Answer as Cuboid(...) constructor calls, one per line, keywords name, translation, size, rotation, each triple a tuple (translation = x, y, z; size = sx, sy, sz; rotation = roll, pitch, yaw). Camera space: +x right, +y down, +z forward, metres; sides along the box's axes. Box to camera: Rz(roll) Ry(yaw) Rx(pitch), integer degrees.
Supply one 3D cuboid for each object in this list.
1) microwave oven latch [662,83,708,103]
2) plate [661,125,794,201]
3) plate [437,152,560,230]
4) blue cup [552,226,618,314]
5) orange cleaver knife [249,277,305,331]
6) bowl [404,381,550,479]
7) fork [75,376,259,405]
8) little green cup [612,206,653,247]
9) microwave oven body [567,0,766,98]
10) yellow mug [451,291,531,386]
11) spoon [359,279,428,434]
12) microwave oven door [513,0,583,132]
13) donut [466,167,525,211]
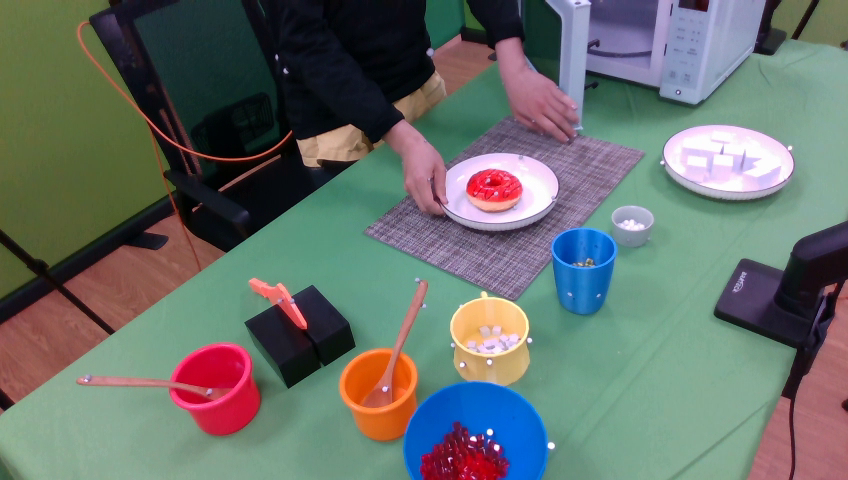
Cuboid(name="microwave oven latch", translation=(0.518, -0.297, 1.204), size=(0.078, 0.029, 0.030), rotation=(28, 53, 36))
Cuboid(name="plate", translation=(0.513, -0.128, 1.035), size=(0.207, 0.039, 0.206), rotation=(-4, 40, 4))
Cuboid(name="plate", translation=(0.126, -0.080, 1.029), size=(0.209, 0.038, 0.208), rotation=(-4, 40, 4))
Cuboid(name="blue cup", translation=(0.217, 0.047, 0.825), size=(0.092, 0.100, 0.092), rotation=(-6, 40, 5))
Cuboid(name="orange cleaver knife", translation=(-0.210, 0.088, 0.856), size=(0.012, 0.077, 0.210), rotation=(-28, 15, -25))
Cuboid(name="bowl", translation=(0.058, 0.235, 0.645), size=(0.151, 0.077, 0.150), rotation=(-4, 39, 4))
Cuboid(name="fork", translation=(-0.296, 0.176, 0.716), size=(0.209, 0.018, 0.028), rotation=(19, 27, -36))
Cuboid(name="little green cup", translation=(0.321, -0.019, 0.936), size=(0.061, 0.039, 0.061), rotation=(-4, 41, 4))
Cuboid(name="microwave oven body", translation=(0.472, -0.513, 1.317), size=(0.438, 0.261, 0.327), rotation=(26, 51, 34))
Cuboid(name="yellow mug", translation=(0.085, 0.120, 0.786), size=(0.100, 0.064, 0.130), rotation=(-6, 39, 1))
Cuboid(name="spoon", translation=(-0.032, 0.138, 0.719), size=(0.041, 0.193, 0.022), rotation=(22, 4, 30))
Cuboid(name="microwave oven door", translation=(0.244, -0.411, 1.224), size=(0.039, 0.245, 0.353), rotation=(-11, 40, -4))
Cuboid(name="donut", translation=(0.120, -0.086, 1.020), size=(0.099, 0.048, 0.098), rotation=(-3, 38, 3))
